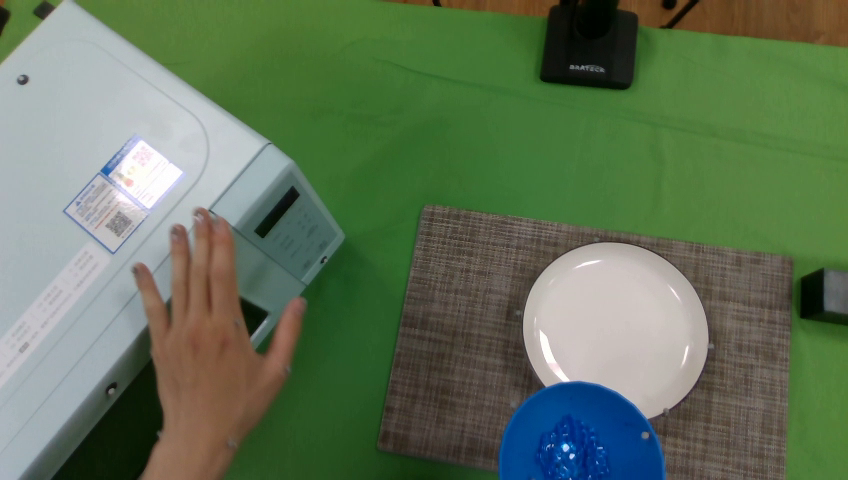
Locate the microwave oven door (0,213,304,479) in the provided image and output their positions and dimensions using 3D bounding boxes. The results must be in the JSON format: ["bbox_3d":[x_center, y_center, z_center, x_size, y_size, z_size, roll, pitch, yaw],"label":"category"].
[{"bbox_3d":[-0.274,0.148,0.599,0.039,0.245,0.355,35,80,13],"label":"microwave oven door"}]

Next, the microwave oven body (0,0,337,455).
[{"bbox_3d":[-0.365,0.034,0.641,0.324,0.261,0.441,35,81,12],"label":"microwave oven body"}]

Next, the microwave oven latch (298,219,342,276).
[{"bbox_3d":[-0.133,0.004,0.734,0.030,0.029,0.079,37,81,12],"label":"microwave oven latch"}]

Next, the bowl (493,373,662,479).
[{"bbox_3d":[0.136,0.205,0.576,0.151,0.077,0.150,1,75,-2],"label":"bowl"}]

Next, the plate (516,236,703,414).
[{"bbox_3d":[0.209,0.100,0.699,0.207,0.039,0.206,-1,75,4],"label":"plate"}]
